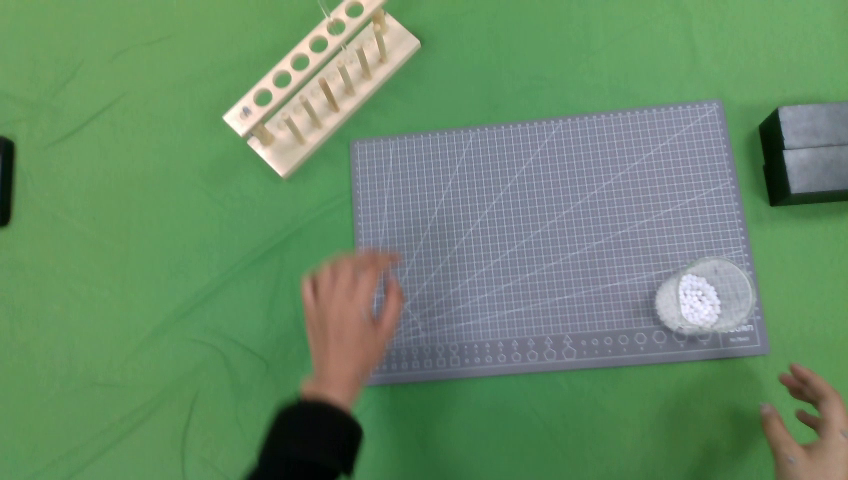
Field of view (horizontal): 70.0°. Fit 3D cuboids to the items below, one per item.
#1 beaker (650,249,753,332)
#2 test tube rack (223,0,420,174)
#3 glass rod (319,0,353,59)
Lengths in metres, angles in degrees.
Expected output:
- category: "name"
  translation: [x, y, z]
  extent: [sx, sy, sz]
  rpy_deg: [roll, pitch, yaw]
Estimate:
- category: "beaker"
  translation: [0.280, 0.059, 0.629]
  extent: [0.084, 0.101, 0.073]
  rpy_deg: [-42, 77, -4]
- category: "test tube rack"
  translation: [-0.116, -0.197, 0.726]
  extent: [0.066, 0.085, 0.242]
  rpy_deg: [44, 85, 13]
- category: "glass rod"
  translation: [-0.111, -0.260, 0.671]
  extent: [0.008, 0.201, 0.008]
  rpy_deg: [-3, 72, 10]
